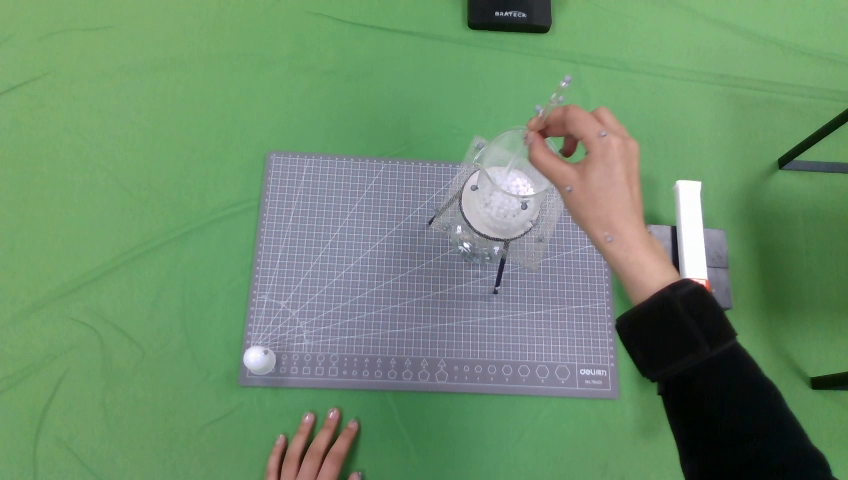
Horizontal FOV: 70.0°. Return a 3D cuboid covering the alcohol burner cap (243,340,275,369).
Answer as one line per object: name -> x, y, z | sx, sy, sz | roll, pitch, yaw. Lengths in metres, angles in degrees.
alcohol burner cap -> -0.191, 0.129, 0.692 | 0.034, 0.048, 0.033 | 2, 73, -5

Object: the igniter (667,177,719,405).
igniter -> 0.315, 0.054, 0.716 | 0.057, 0.025, 0.275 | 5, 72, 0

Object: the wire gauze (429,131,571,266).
wire gauze -> 0.085, -0.046, 0.650 | 0.121, 0.011, 0.124 | 25, 69, 1

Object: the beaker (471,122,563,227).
beaker -> 0.085, -0.060, 0.604 | 0.084, 0.101, 0.073 | 3, 71, -2

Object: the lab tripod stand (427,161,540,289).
lab tripod stand -> 0.079, -0.029, 0.713 | 0.148, 0.132, 0.147 | 1, 71, -4

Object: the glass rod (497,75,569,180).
glass rod -> 0.093, -0.094, 0.546 | 0.008, 0.200, 0.008 | 2, 74, -7

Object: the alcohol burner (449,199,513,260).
alcohol burner -> 0.070, -0.018, 0.719 | 0.078, 0.119, 0.077 | 1, 74, -3
